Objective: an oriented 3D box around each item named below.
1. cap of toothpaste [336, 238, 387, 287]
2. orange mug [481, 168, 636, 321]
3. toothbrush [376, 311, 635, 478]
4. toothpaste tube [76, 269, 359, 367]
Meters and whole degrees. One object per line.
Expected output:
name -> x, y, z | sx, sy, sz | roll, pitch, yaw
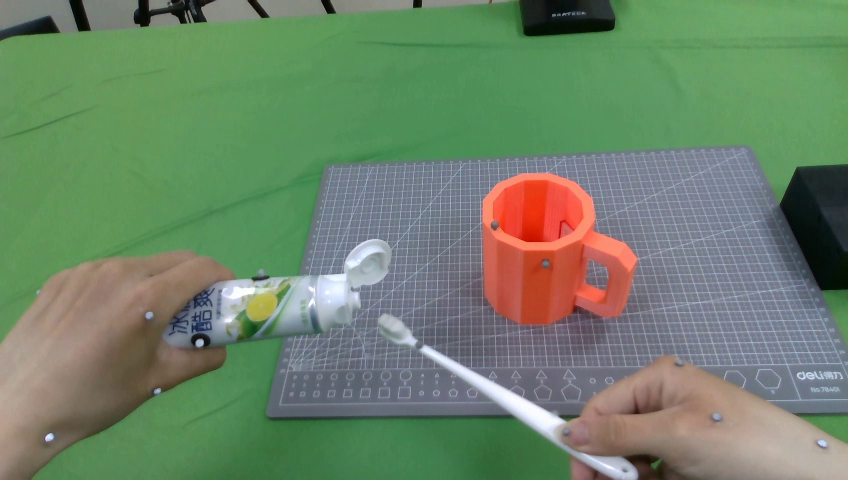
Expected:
cap of toothpaste -> -0.037, 0.016, 0.382 | 0.037, 0.038, 0.011 | -31, 44, -20
orange mug -> 0.104, 0.011, 0.488 | 0.125, 0.102, 0.083 | 21, 54, 29
toothbrush -> 0.039, 0.086, 0.359 | 0.180, 0.017, 0.014 | 26, 54, 30
toothpaste tube -> -0.121, 0.039, 0.361 | 0.165, 0.035, 0.054 | -6, 61, -2
